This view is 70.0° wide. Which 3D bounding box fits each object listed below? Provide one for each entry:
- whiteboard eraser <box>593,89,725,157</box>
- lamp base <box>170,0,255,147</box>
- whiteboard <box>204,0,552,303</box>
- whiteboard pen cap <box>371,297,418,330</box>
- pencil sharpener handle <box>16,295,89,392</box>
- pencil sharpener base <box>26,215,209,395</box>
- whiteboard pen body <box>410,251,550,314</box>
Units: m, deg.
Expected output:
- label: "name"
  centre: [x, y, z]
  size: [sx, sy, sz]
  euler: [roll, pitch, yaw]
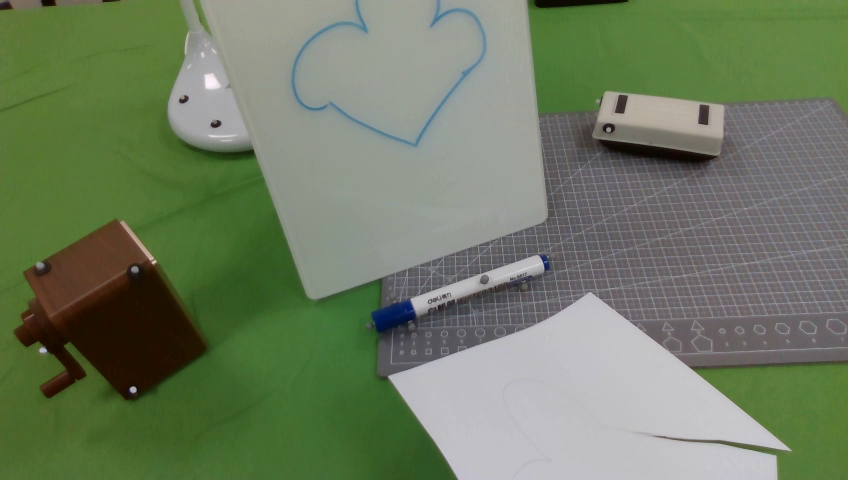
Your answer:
- label: "whiteboard eraser"
  centre: [0.220, -0.109, 0.568]
  size: [0.112, 0.042, 0.055]
  euler: [12, 52, 15]
- label: "lamp base"
  centre: [-0.208, -0.211, 0.605]
  size: [0.177, 0.182, 0.160]
  euler: [31, 58, 30]
- label: "whiteboard"
  centre: [-0.038, -0.142, 0.486]
  size: [0.217, 0.308, 0.142]
  euler: [-18, 31, -10]
- label: "whiteboard pen cap"
  centre: [-0.022, 0.055, 0.459]
  size: [0.033, 0.018, 0.018]
  euler: [-19, 50, -10]
- label: "pencil sharpener handle"
  centre: [-0.249, 0.070, 0.395]
  size: [0.030, 0.068, 0.035]
  euler: [-36, 42, -23]
- label: "pencil sharpener base"
  centre: [-0.212, 0.049, 0.427]
  size: [0.076, 0.108, 0.061]
  euler: [-36, 56, -23]
- label: "whiteboard pen body"
  centre: [0.033, 0.036, 0.469]
  size: [0.141, 0.017, 0.017]
  euler: [-18, 50, -10]
